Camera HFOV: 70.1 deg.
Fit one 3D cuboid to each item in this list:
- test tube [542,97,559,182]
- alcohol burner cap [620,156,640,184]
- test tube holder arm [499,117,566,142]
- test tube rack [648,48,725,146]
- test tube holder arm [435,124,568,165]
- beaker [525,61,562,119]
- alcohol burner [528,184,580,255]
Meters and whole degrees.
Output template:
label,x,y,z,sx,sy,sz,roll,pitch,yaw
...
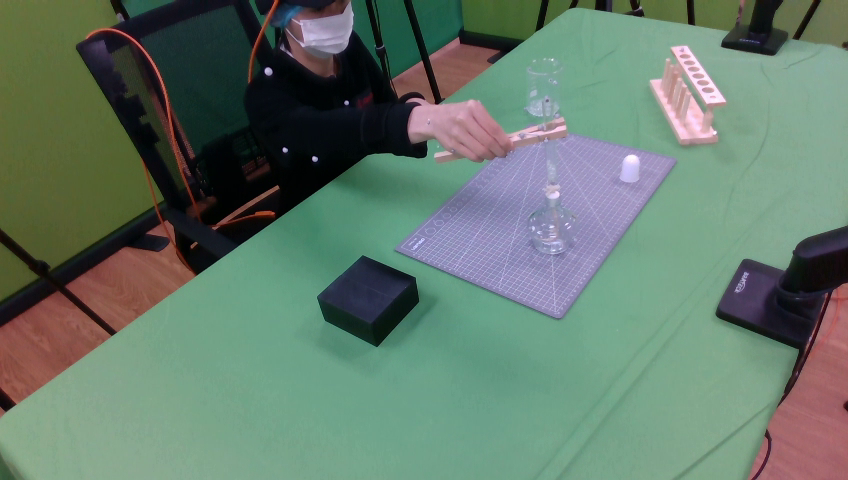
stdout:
label,x,y,z,sx,sy,sz,roll,pitch,yaw
test tube,0.169,-0.129,0.805,0.017,0.151,0.017,-7,53,10
alcohol burner cap,0.358,-0.124,1.047,0.034,0.048,0.033,-4,40,4
test tube holder arm,0.142,-0.140,0.794,0.087,0.015,0.010,-18,47,9
test tube rack,0.508,-0.285,1.186,0.067,0.085,0.241,-4,40,6
test tube holder arm,0.100,-0.126,0.800,0.178,0.015,0.013,-12,47,15
beaker,0.248,-0.309,1.246,0.073,0.101,0.084,29,52,36
alcohol burner,0.196,-0.036,0.911,0.078,0.119,0.077,-6,41,5
